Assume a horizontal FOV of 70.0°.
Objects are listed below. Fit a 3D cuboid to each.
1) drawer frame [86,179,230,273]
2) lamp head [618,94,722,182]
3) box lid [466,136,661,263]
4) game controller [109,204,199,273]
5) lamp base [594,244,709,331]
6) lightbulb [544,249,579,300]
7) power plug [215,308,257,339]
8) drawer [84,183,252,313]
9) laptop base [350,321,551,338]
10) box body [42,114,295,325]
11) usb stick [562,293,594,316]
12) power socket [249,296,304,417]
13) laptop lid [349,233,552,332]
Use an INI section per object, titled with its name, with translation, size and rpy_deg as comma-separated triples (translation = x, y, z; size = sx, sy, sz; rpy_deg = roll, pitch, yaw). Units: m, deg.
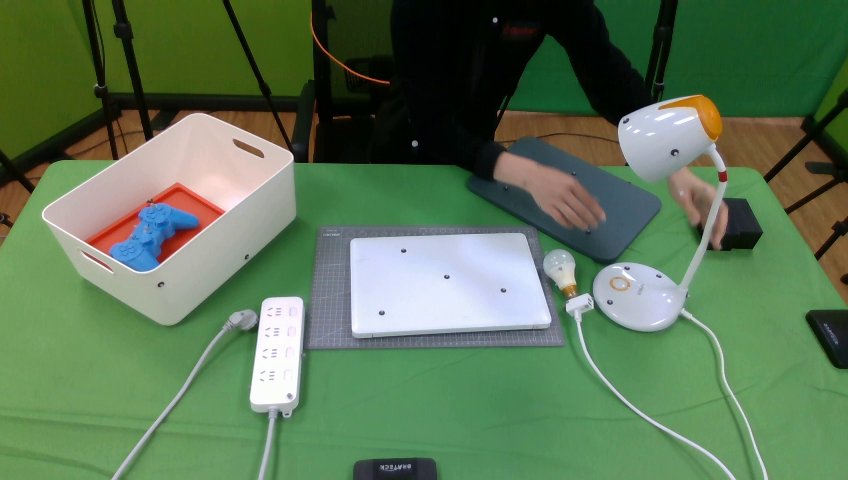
[drawer frame]
translation = -0.453, 0.010, 1.100
size = 0.201, 0.083, 0.213
rpy_deg = 28, 54, 23
[lamp head]
translation = 0.364, -0.152, 0.877
size = 0.113, 0.123, 0.112
rpy_deg = 17, 65, -40
[box lid]
translation = 0.306, -0.102, 1.327
size = 0.370, 0.015, 0.263
rpy_deg = 32, 51, 25
[game controller]
translation = -0.467, -0.005, 1.044
size = 0.097, 0.052, 0.154
rpy_deg = 8, 46, 10
[lamp base]
translation = 0.412, 0.052, 1.070
size = 0.179, 0.181, 0.160
rpy_deg = 18, 48, 9
[lightbulb]
translation = 0.263, 0.067, 1.136
size = 0.059, 0.060, 0.107
rpy_deg = -10, 64, -14
[power plug]
translation = -0.317, 0.143, 1.024
size = 0.072, 0.053, 0.035
rpy_deg = -32, 58, -8
[drawer]
translation = -0.457, 0.008, 1.099
size = 0.194, 0.073, 0.211
rpy_deg = 29, 49, 21
[laptop base]
translation = 0.039, 0.081, 1.126
size = 0.355, 0.023, 0.234
rpy_deg = -2, 43, -6
[box body]
translation = -0.437, -0.046, 1.110
size = 0.253, 0.161, 0.363
rpy_deg = 24, 49, 19
[usb stick]
translation = 0.274, 0.118, 1.087
size = 0.021, 0.059, 0.027
rpy_deg = 38, 45, -27
[power socket]
translation = -0.239, 0.182, 0.996
size = 0.072, 0.033, 0.225
rpy_deg = -2, 47, -5
[laptop lid]
translation = 0.040, 0.070, 1.119
size = 0.357, 0.013, 0.240
rpy_deg = -1, 44, -5
